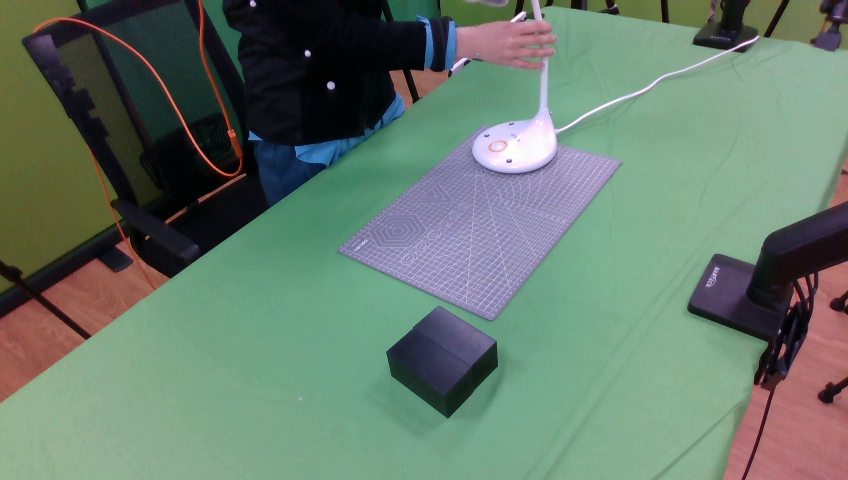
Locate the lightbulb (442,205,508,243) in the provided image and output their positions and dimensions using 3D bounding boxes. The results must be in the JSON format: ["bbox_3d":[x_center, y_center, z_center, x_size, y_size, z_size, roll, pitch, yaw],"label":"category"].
[{"bbox_3d":[0.081,-0.019,0.955,0.107,0.059,0.059,18,44,5],"label":"lightbulb"}]

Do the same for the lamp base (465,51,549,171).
[{"bbox_3d":[0.159,-0.244,1.103,0.180,0.181,0.159,-31,46,-29],"label":"lamp base"}]
